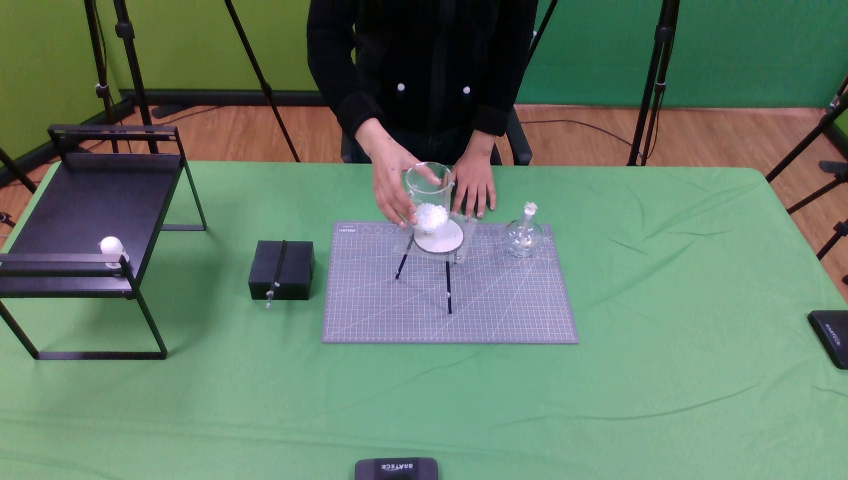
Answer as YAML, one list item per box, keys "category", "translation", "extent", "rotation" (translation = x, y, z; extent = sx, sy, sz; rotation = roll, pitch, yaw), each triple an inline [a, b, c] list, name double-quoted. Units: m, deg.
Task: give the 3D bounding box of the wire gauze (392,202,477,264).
- category: "wire gauze"
  translation: [0.021, -0.012, 1.037]
  extent: [0.121, 0.011, 0.124]
  rotation: [14, 47, 8]

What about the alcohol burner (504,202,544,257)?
- category: "alcohol burner"
  translation: [0.195, -0.025, 1.170]
  extent: [0.078, 0.120, 0.077]
  rotation: [2, 44, -2]

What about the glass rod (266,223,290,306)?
- category: "glass rod"
  translation: [-0.260, 0.039, 1.083]
  extent: [0.008, 0.008, 0.198]
  rotation: [3, 46, -1]

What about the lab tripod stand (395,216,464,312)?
- category: "lab tripod stand"
  translation: [0.023, 0.037, 1.084]
  extent: [0.148, 0.132, 0.147]
  rotation: [4, 46, -4]

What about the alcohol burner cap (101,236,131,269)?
- category: "alcohol burner cap"
  translation: [-0.452, 0.016, 0.883]
  extent: [0.034, 0.048, 0.033]
  rotation: [2, 47, -2]

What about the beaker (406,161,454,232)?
- category: "beaker"
  translation: [0.006, -0.069, 0.990]
  extent: [0.074, 0.101, 0.083]
  rotation: [-24, 53, -20]
